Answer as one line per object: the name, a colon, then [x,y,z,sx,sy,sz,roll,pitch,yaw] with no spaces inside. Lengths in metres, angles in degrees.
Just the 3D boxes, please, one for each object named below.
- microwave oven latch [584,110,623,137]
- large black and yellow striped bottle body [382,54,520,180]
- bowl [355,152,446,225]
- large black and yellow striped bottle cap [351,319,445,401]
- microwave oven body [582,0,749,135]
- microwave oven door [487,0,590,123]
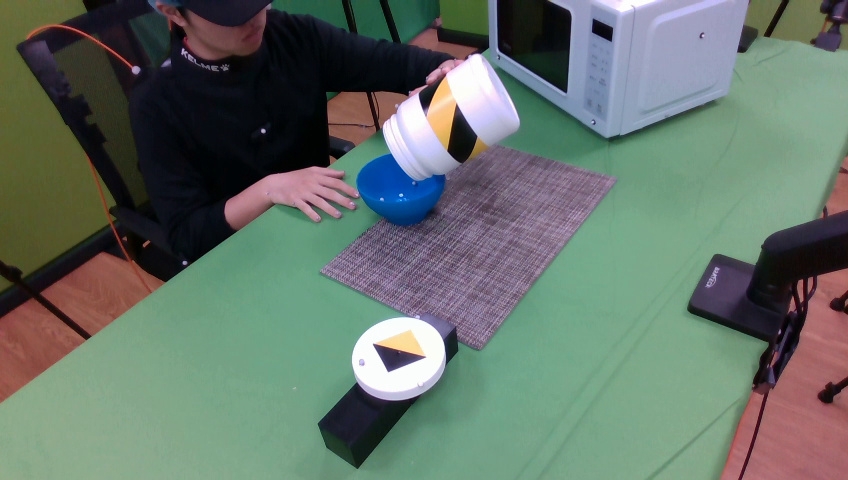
microwave oven latch: [0.337,-0.222,1.142,0.030,0.029,0.078,-21,42,-14]
large black and yellow striped bottle body: [0.040,-0.182,0.930,0.183,0.132,0.130,-29,36,19]
bowl: [-0.035,-0.078,1.017,0.151,0.077,0.150,-4,40,4]
large black and yellow striped bottle cap: [-0.031,0.143,0.734,0.115,0.019,0.114,-3,40,3]
microwave oven body: [0.382,-0.444,1.246,0.327,0.261,0.437,-22,42,-16]
microwave oven door: [0.232,-0.420,1.231,0.039,0.245,0.352,-22,43,-16]
